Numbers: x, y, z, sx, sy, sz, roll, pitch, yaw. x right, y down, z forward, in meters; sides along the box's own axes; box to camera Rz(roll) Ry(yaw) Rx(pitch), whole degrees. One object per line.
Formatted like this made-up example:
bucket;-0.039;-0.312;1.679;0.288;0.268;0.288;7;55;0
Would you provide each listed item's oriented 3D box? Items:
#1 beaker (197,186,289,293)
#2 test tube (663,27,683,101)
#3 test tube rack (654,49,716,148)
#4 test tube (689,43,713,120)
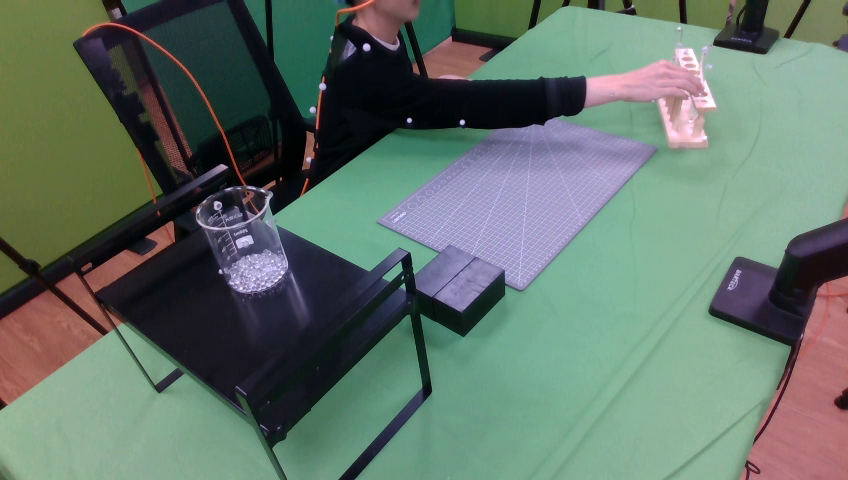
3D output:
beaker;-0.192;0.001;0.666;0.084;0.101;0.073;-33;47;-27
test tube;0.486;-0.342;1.181;0.017;0.151;0.017;-4;42;4
test tube rack;0.502;-0.281;1.176;0.066;0.085;0.241;1;41;11
test tube;0.506;-0.286;1.106;0.017;0.151;0.017;-4;43;5
